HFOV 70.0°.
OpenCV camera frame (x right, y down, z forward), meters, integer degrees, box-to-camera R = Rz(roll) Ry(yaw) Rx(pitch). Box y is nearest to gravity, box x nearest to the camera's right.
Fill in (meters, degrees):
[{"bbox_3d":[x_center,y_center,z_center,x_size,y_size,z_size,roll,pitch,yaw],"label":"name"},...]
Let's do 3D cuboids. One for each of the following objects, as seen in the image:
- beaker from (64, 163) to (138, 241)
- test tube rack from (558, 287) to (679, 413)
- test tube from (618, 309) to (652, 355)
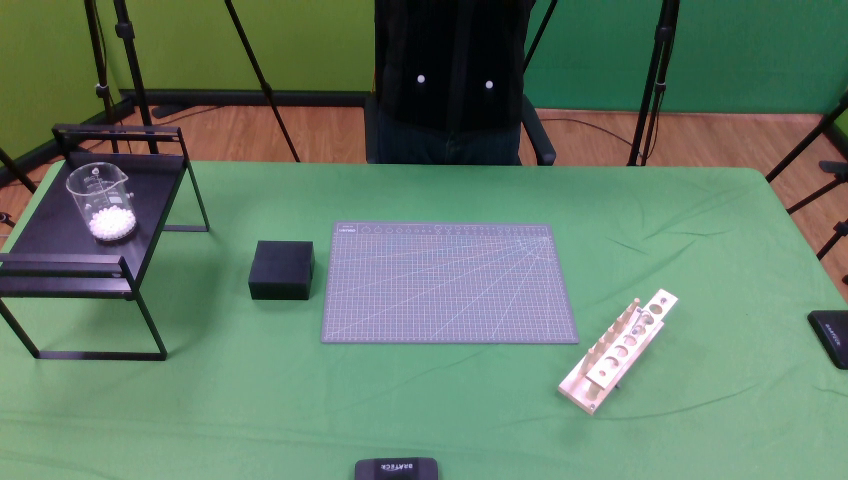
[{"bbox_3d":[-0.478,-0.055,0.910,0.084,0.101,0.073,-9,48,-13],"label":"beaker"},{"bbox_3d":[0.326,0.170,1.009,0.066,0.085,0.242,35,54,26],"label":"test tube rack"},{"bbox_3d":[0.328,0.155,0.955,0.017,0.151,0.017,1,50,-1],"label":"test tube"}]
